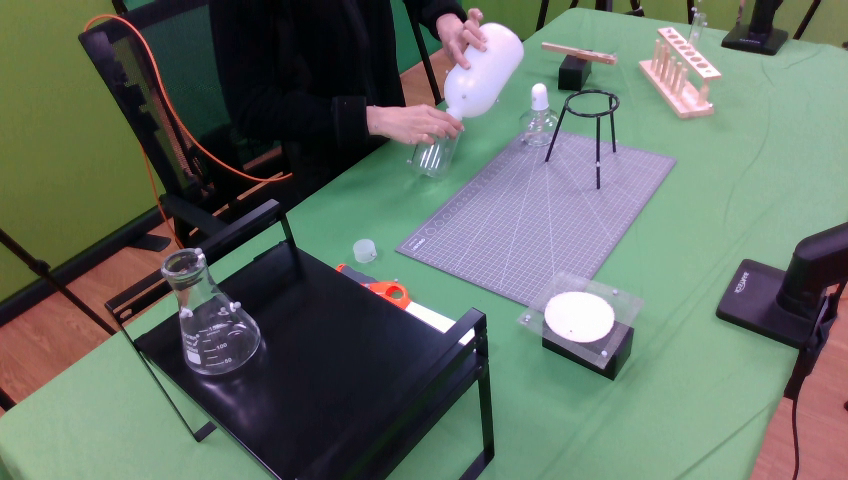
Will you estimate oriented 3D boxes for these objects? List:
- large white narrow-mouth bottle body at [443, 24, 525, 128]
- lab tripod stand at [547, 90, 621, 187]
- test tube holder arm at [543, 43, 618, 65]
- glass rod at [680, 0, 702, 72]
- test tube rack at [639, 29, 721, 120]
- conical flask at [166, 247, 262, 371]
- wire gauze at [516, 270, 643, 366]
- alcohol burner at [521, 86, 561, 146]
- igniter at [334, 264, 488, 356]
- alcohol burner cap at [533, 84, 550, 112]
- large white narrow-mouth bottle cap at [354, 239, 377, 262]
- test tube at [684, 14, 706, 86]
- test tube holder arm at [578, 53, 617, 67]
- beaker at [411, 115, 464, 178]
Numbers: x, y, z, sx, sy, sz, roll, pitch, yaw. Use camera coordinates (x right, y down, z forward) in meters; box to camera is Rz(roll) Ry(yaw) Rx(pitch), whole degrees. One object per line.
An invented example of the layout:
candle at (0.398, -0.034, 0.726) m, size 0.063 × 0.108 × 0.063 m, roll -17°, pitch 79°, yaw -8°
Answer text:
large white narrow-mouth bottle body at (0.098, -0.291, 1.112) m, size 0.101 × 0.102 × 0.194 m, roll 28°, pitch 81°, yaw 35°
lab tripod stand at (0.288, -0.184, 1.062) m, size 0.148 × 0.132 × 0.147 m, roll -6°, pitch 41°, yaw 6°
test tube holder arm at (0.344, -0.413, 1.340) m, size 0.177 × 0.015 × 0.013 m, roll 25°, pitch 51°, yaw 31°
glass rod at (0.543, -0.417, 1.233) m, size 0.008 × 0.200 × 0.008 m, roll 1°, pitch 40°, yaw 0°
test tube rack at (0.527, -0.351, 1.262) m, size 0.067 × 0.085 × 0.241 m, roll -8°, pitch 40°, yaw 1°
conical flask at (-0.208, 0.064, 0.584) m, size 0.075 × 0.122 × 0.075 m, roll -5°, pitch 40°, yaw 4°
wire gauze at (0.200, 0.093, 0.777) m, size 0.124 × 0.011 × 0.122 m, roll 23°, pitch 49°, yaw 32°
alcohol burner at (0.223, -0.241, 1.155) m, size 0.078 × 0.119 × 0.077 m, roll -5°, pitch 43°, yaw 5°
igniter at (-0.030, 0.095, 0.871) m, size 0.274 × 0.025 × 0.057 m, roll 22°, pitch 59°, yaw 31°
alcohol burner cap at (0.218, -0.269, 1.133) m, size 0.034 × 0.048 × 0.033 m, roll -9°, pitch 36°, yaw 7°
large white narrow-mouth bottle cap at (-0.095, 0.017, 0.981) m, size 0.038 × 0.024 × 0.037 m, roll -4°, pitch 40°, yaw 4°
test tube at (0.540, -0.378, 1.215) m, size 0.017 × 0.151 × 0.017 m, roll -2°, pitch 44°, yaw 3°
test tube holder arm at (0.376, -0.393, 1.314) m, size 0.087 × 0.015 × 0.010 m, roll 26°, pitch 51°, yaw 32°
beaker at (0.025, -0.169, 1.109) m, size 0.085 × 0.100 × 0.073 m, roll 11°, pitch 15°, yaw -40°
